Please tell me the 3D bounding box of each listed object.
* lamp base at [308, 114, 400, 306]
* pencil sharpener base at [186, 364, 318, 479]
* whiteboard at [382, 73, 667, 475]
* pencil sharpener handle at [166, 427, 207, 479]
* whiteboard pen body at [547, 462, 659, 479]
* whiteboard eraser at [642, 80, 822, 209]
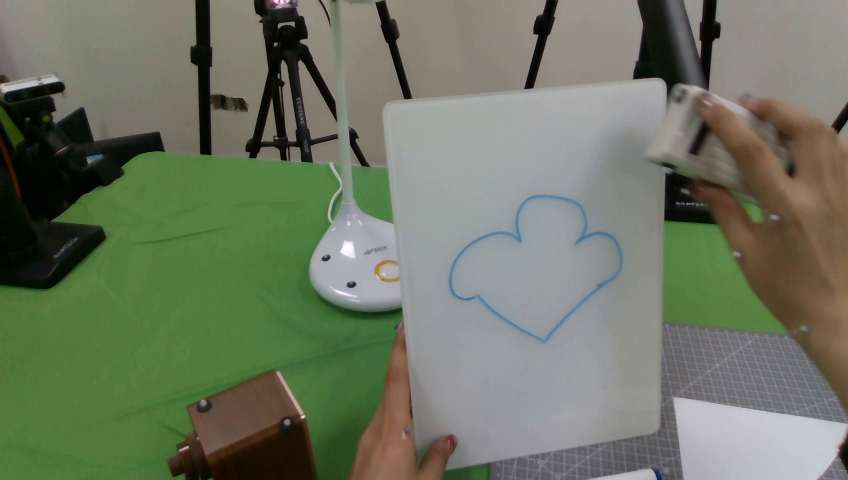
[{"bbox_3d":[-0.068,-0.043,0.691,0.161,0.182,0.177,-24,39,-31],"label":"lamp base"},{"bbox_3d":[-0.130,0.160,0.458,0.077,0.108,0.060,-20,39,-25],"label":"pencil sharpener base"},{"bbox_3d":[0.078,0.018,0.541,0.217,0.307,0.143,-7,15,-8],"label":"whiteboard"},{"bbox_3d":[-0.171,0.167,0.426,0.031,0.068,0.035,-20,26,-25],"label":"pencil sharpener handle"},{"bbox_3d":[0.117,0.193,0.475,0.141,0.017,0.017,-7,35,-8],"label":"whiteboard pen body"},{"bbox_3d":[0.210,-0.064,0.419,0.113,0.056,0.041,19,13,-11],"label":"whiteboard eraser"}]
